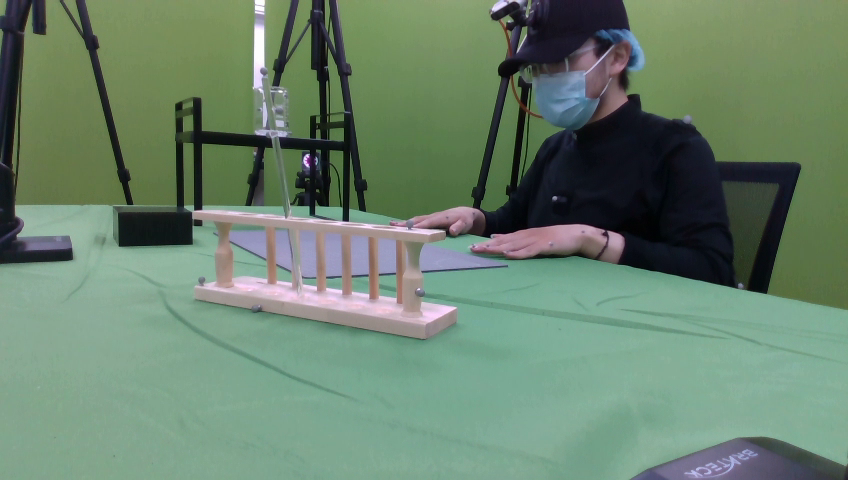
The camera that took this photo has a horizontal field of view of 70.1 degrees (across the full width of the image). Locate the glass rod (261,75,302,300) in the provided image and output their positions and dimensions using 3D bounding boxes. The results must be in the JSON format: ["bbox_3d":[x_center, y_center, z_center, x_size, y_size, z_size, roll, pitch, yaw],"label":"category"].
[{"bbox_3d":[-0.124,-0.043,0.531,0.008,0.199,0.008,-7,8,1],"label":"glass rod"}]

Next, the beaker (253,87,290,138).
[{"bbox_3d":[-0.319,-0.265,1.259,0.073,0.100,0.084,7,9,33],"label":"beaker"}]

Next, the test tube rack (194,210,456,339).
[{"bbox_3d":[-0.093,0.023,0.546,0.241,0.085,0.067,6,8,25],"label":"test tube rack"}]
